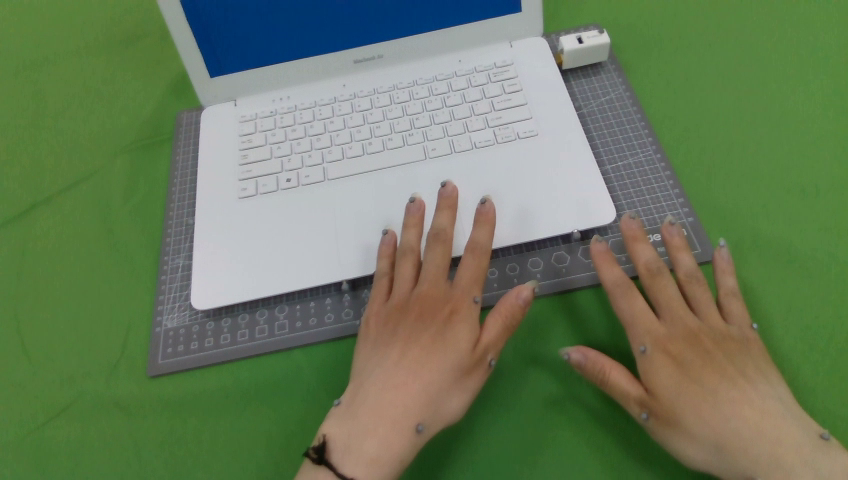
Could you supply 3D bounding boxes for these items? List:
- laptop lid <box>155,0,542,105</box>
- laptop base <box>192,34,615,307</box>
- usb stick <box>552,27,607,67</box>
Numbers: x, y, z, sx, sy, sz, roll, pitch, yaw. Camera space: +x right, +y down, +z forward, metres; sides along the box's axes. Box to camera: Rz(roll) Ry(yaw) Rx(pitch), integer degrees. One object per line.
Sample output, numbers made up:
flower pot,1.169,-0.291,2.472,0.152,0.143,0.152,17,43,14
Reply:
laptop lid,-0.073,-0.259,0.543,0.357,0.244,0.013,-13,39,2
laptop base,-0.034,-0.073,0.553,0.354,0.023,0.233,-12,59,1
usb stick,0.144,-0.184,0.584,0.059,0.027,0.021,-12,57,3
